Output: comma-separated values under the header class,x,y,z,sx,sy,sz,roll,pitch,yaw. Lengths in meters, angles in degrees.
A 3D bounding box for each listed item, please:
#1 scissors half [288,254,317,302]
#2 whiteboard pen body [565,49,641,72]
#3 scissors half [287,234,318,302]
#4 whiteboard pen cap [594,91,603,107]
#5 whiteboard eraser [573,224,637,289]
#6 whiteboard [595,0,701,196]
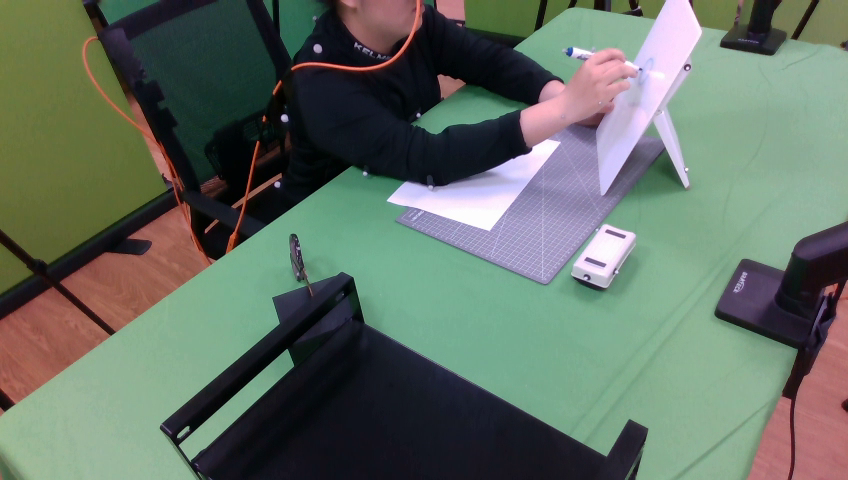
class,x,y,z,sx,sy,sz,roll,pitch,yaw
scissors half,-0.178,0.058,0.894,0.013,0.040,0.174,-16,21,-18
whiteboard pen body,0.300,-0.296,1.006,0.141,0.017,0.017,8,38,-16
scissors half,-0.178,0.040,0.885,0.013,0.040,0.173,-12,36,-21
whiteboard pen cap,0.364,-0.294,1.262,0.018,0.033,0.018,-5,41,5
whiteboard eraser,0.267,0.026,0.891,0.055,0.042,0.113,19,47,31
whiteboard,0.421,-0.227,1.010,0.144,0.305,0.216,18,42,-2
